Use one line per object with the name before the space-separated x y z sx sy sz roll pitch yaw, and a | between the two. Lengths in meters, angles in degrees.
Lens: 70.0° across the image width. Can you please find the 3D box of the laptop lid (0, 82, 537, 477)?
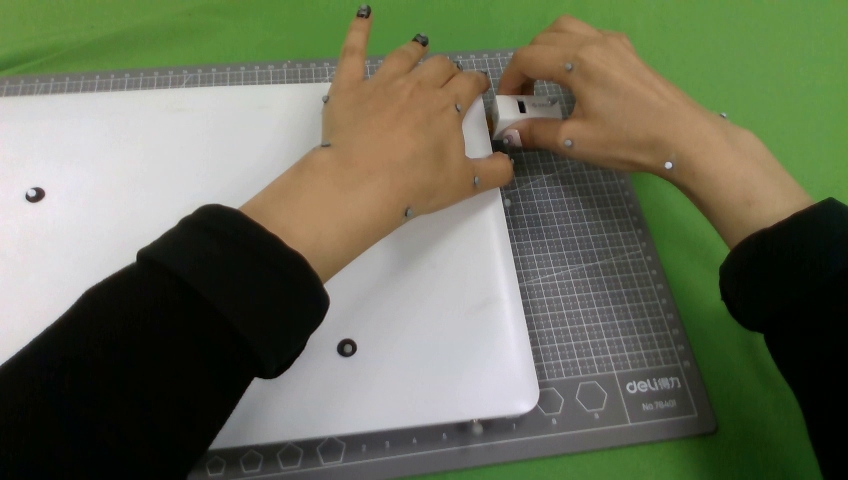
laptop lid | -0.124 0.004 0.353 0.357 0.013 0.239 -3 64 -6

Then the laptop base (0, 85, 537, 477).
laptop base | -0.125 0.008 0.364 0.355 0.023 0.233 -4 65 -7

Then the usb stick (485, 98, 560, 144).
usb stick | 0.060 -0.081 0.414 0.059 0.027 0.021 -3 64 -7
